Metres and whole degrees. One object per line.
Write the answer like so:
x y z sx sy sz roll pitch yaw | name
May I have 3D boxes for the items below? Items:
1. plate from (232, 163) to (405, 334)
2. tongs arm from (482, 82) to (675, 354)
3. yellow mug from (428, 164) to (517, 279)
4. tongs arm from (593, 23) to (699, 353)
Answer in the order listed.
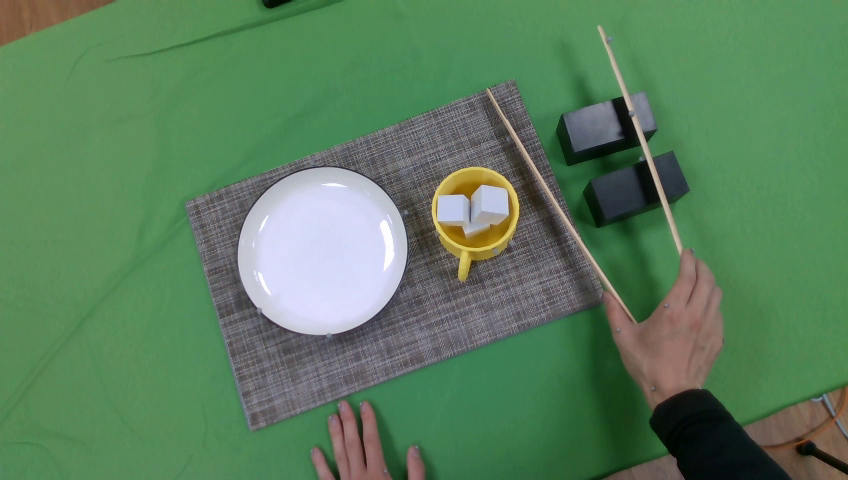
-0.125 0.011 0.734 0.207 0.039 0.207 -1 80 4 | plate
0.168 -0.033 0.704 0.028 0.028 0.385 -32 75 8 | tongs arm
0.054 -0.017 0.710 0.100 0.064 0.130 11 81 6 | yellow mug
0.238 -0.066 0.684 0.050 0.027 0.383 -20 78 14 | tongs arm
